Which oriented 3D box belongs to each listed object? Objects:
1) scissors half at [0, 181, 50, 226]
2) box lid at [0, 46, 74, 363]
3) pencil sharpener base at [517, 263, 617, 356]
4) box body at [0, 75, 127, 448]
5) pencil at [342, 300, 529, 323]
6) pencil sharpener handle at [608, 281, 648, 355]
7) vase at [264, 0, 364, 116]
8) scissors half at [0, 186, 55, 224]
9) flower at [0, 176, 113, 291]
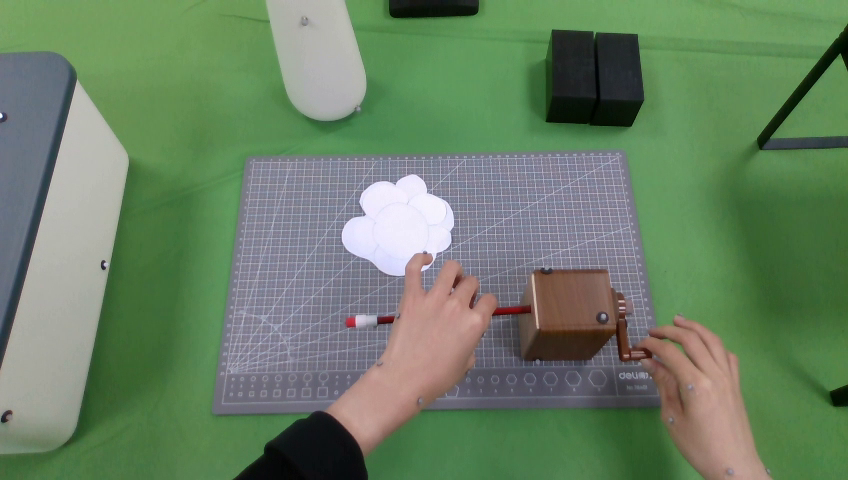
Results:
[{"bbox_3d":[-0.495,-0.008,0.673,0.175,0.040,0.012,-34,31,-6],"label":"scissors half"},{"bbox_3d":[-0.462,-0.020,0.515,0.263,0.015,0.368,-2,66,-2],"label":"box lid"},{"bbox_3d":[0.134,0.069,0.579,0.077,0.108,0.061,-1,65,0],"label":"pencil sharpener base"},{"bbox_3d":[-0.461,0.014,0.583,0.254,0.161,0.361,-2,65,0],"label":"box body"},{"bbox_3d":[0.023,0.063,0.551,0.194,0.012,0.012,-4,65,-3],"label":"pencil"},{"bbox_3d":[0.185,0.071,0.551,0.030,0.036,0.067,-1,77,0],"label":"pencil sharpener handle"},{"bbox_3d":[-0.124,-0.228,0.670,0.098,0.201,0.097,-1,64,2],"label":"vase"},{"bbox_3d":[-0.500,-0.018,0.665,0.175,0.040,0.012,-26,36,-13],"label":"scissors half"},{"bbox_3d":[-0.458,0.044,0.661,0.038,0.044,0.359,-8,40,32],"label":"flower"}]
